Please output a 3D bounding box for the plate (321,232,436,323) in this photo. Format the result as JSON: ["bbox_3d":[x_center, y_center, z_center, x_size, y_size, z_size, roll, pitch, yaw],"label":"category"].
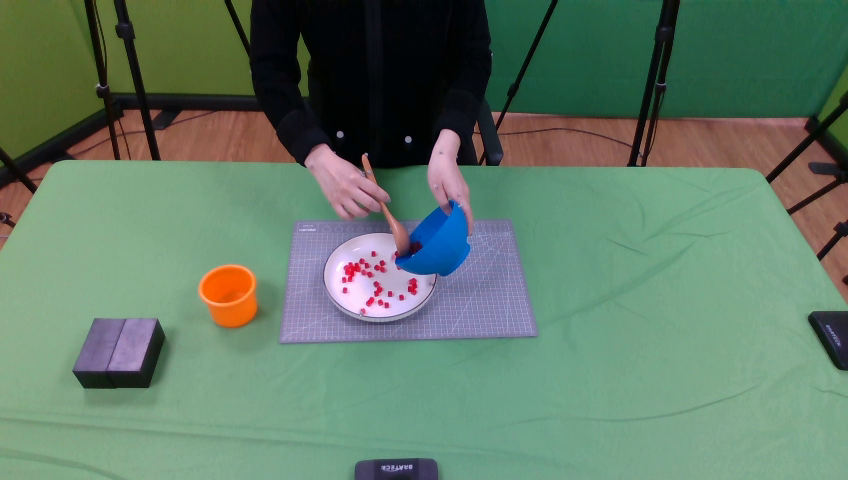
[{"bbox_3d":[-0.083,0.070,1.109,0.209,0.038,0.208,3,46,-3],"label":"plate"}]

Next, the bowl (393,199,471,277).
[{"bbox_3d":[0.026,0.010,1.036,0.077,0.151,0.151,43,48,-13],"label":"bowl"}]

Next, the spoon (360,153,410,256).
[{"bbox_3d":[-0.068,-0.059,1.034,0.021,0.194,0.041,-10,25,41],"label":"spoon"}]
